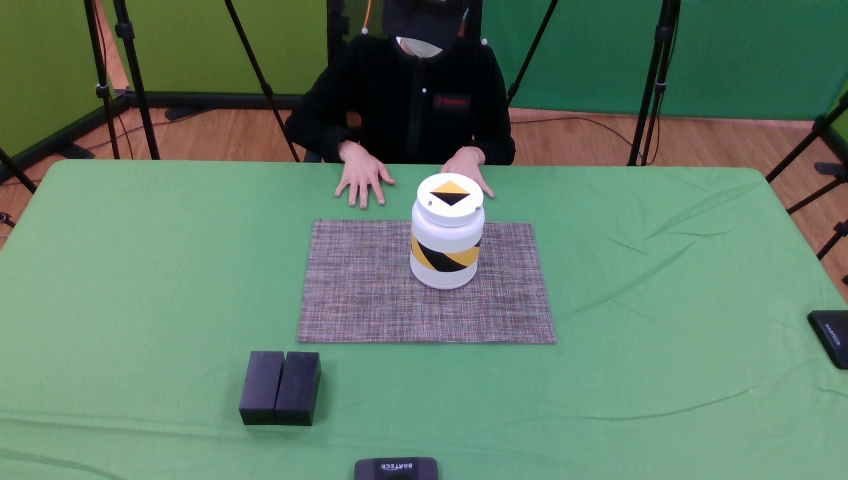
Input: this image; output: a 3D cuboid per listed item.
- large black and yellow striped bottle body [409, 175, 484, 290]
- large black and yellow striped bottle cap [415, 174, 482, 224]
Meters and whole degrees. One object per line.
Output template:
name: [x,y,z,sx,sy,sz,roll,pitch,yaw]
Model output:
large black and yellow striped bottle body: [0.039,-0.013,1.096,0.131,0.185,0.130,2,46,-2]
large black and yellow striped bottle cap: [0.042,-0.072,1.036,0.115,0.019,0.114,3,44,-3]
